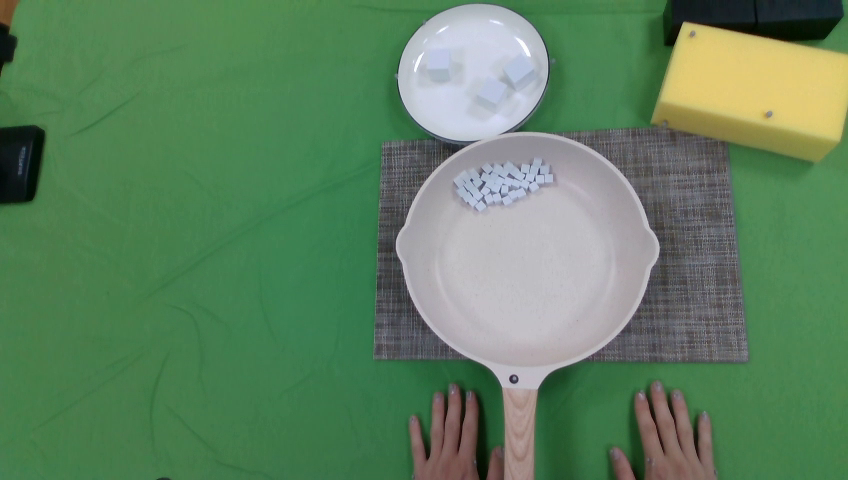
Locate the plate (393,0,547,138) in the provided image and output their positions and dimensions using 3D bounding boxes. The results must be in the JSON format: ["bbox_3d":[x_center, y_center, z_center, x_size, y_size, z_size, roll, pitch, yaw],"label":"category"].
[{"bbox_3d":[0.063,-0.233,0.832,0.207,0.039,0.206,-2,76,9],"label":"plate"}]

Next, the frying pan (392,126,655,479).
[{"bbox_3d":[0.108,0.103,0.703,0.306,0.103,0.484,1,68,10],"label":"frying pan"}]

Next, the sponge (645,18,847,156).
[{"bbox_3d":[0.400,-0.192,0.756,0.206,0.061,0.118,16,76,13],"label":"sponge"}]
